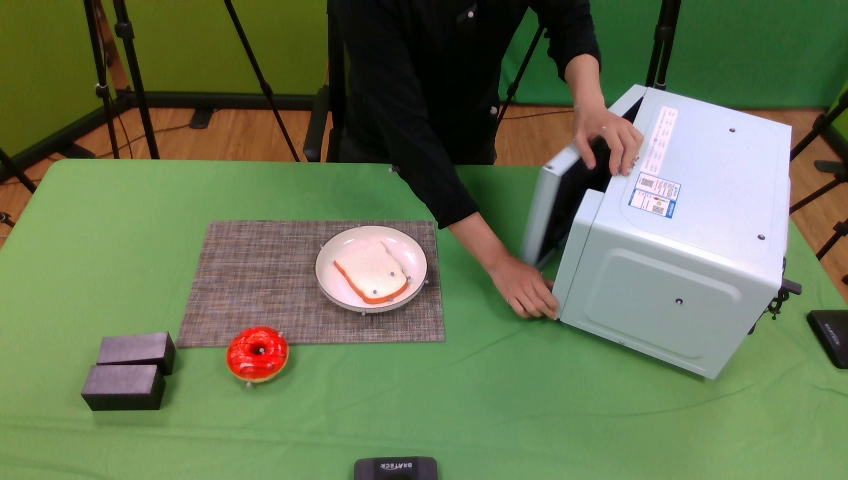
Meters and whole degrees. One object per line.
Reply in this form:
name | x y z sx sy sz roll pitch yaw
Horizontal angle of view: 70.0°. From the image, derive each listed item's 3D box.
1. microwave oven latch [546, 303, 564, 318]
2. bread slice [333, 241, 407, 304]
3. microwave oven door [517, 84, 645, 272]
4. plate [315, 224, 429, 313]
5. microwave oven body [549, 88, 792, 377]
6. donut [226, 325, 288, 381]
microwave oven latch | 0.242 0.102 1.081 0.030 0.029 0.079 22 48 17
bread slice | -0.092 0.060 1.117 0.105 0.019 0.130 -24 52 -24
microwave oven door | 0.307 -0.124 1.163 0.039 0.245 0.355 32 52 24
plate | -0.096 0.055 1.121 0.208 0.039 0.206 2 46 -2
microwave oven body | 0.456 -0.028 1.088 0.325 0.261 0.440 20 47 16
donut | -0.270 0.182 0.984 0.099 0.048 0.098 5 49 -5
